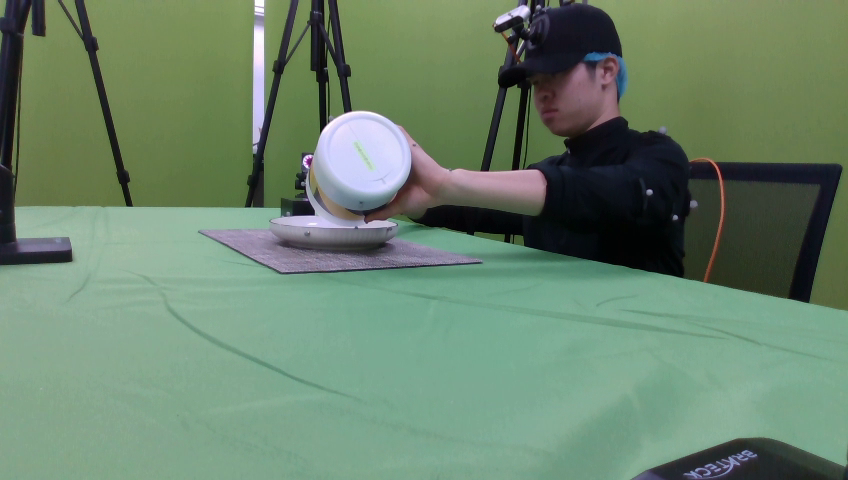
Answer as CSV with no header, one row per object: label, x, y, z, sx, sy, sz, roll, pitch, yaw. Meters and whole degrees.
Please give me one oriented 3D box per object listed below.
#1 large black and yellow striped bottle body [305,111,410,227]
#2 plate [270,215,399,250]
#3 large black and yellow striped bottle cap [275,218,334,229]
large black and yellow striped bottle body,-0.105,-0.095,0.894,0.131,0.130,0.183,0,-14,-18
plate,-0.145,-0.013,0.992,0.208,0.039,0.207,2,7,0
large black and yellow striped bottle cap,-0.236,-0.033,1.197,0.115,0.019,0.115,2,3,0
